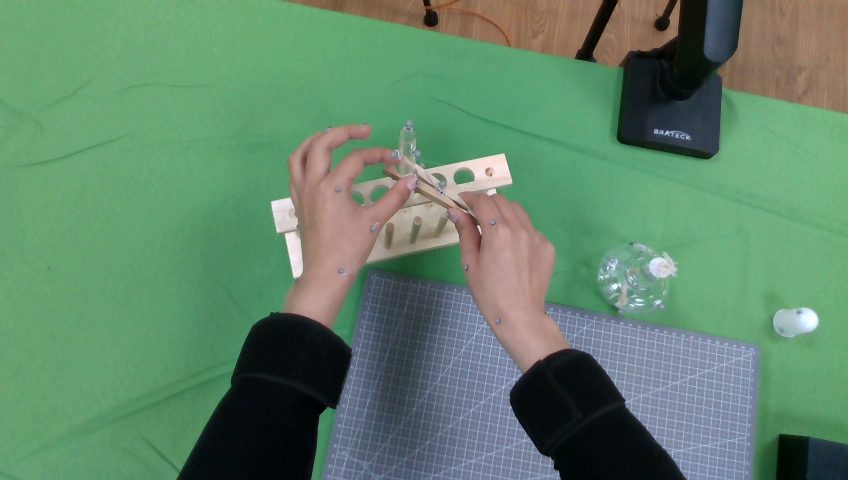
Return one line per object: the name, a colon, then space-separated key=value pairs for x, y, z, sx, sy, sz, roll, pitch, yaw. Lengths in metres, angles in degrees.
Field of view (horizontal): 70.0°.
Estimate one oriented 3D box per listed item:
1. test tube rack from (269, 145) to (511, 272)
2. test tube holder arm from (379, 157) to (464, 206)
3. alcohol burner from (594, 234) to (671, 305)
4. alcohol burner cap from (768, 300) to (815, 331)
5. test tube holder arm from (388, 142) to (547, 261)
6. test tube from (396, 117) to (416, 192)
test tube rack: x=-0.031 y=-0.031 z=0.644 sx=0.243 sy=0.085 sz=0.066 roll=-13 pitch=78 yaw=-7
test tube holder arm: x=-0.001 y=-0.055 z=0.570 sx=0.088 sy=0.015 sz=0.010 roll=24 pitch=80 yaw=2
alcohol burner: x=0.225 y=0.028 z=0.637 sx=0.078 sy=0.119 sz=0.077 roll=1 pitch=77 yaw=-6
alcohol burner cap: x=0.414 y=0.083 z=0.677 sx=0.034 sy=0.048 sz=0.033 roll=1 pitch=76 yaw=-3
test tube holder arm: x=0.040 y=-0.036 z=0.568 sx=0.178 sy=0.015 sz=0.013 roll=35 pitch=81 yaw=3
test tube: x=-0.017 y=-0.073 z=0.564 sx=0.017 sy=0.151 sz=0.017 roll=1 pitch=74 yaw=-3
